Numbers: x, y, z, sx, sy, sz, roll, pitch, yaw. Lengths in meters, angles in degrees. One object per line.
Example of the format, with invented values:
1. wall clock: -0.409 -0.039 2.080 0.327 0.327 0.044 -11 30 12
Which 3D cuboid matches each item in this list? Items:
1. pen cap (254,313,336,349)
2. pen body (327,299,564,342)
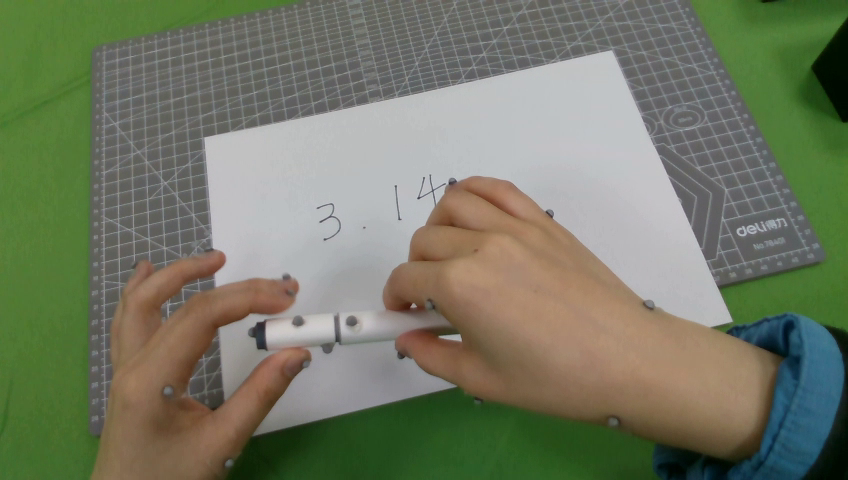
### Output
1. pen cap: -0.061 0.044 0.291 0.038 0.017 0.017 -2 65 -14
2. pen body: 0.000 0.041 0.304 0.144 0.017 0.017 -2 65 -12
